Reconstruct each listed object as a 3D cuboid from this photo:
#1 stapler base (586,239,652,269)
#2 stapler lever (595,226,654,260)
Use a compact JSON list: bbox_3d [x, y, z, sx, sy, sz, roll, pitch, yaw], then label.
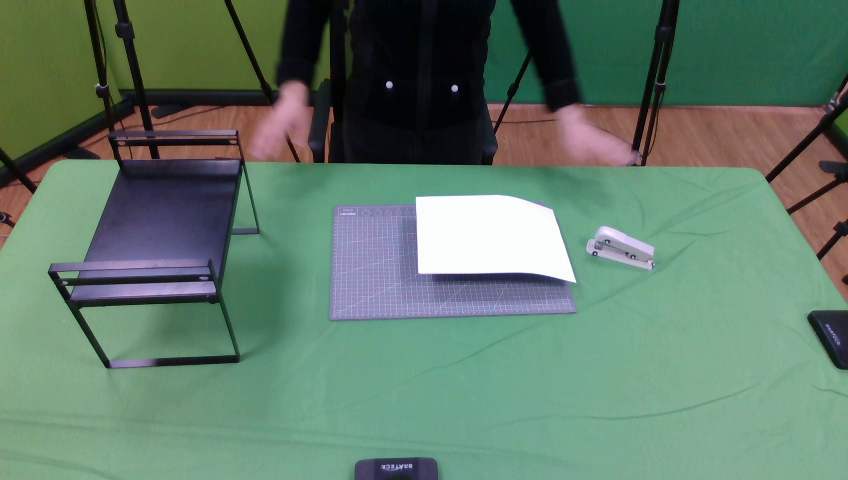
[{"bbox_3d":[0.392,0.021,1.205,0.130,0.024,0.041,17,49,10],"label":"stapler base"},{"bbox_3d":[0.395,0.005,1.188,0.118,0.040,0.026,16,49,11],"label":"stapler lever"}]
